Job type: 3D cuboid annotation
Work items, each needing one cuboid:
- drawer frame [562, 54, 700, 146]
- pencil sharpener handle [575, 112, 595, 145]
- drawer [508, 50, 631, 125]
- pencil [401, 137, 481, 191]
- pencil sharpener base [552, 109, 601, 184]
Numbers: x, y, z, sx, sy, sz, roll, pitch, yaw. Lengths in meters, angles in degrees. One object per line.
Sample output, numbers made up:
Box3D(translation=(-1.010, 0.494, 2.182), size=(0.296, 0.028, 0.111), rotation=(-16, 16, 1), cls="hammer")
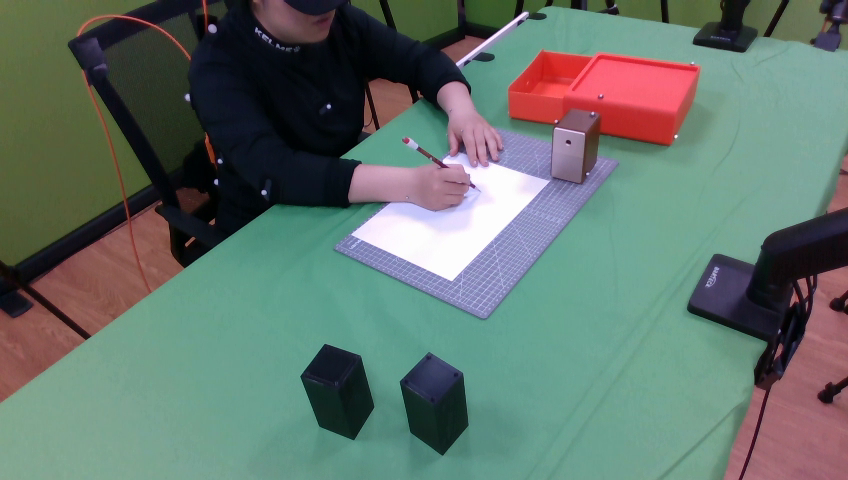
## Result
Box3D(translation=(0.407, -0.282, 1.195), size=(0.212, 0.083, 0.202), rotation=(17, 45, 25), cls="drawer frame")
Box3D(translation=(0.290, -0.203, 1.077), size=(0.036, 0.068, 0.031), rotation=(19, 47, 26), cls="pencil sharpener handle")
Box3D(translation=(0.305, -0.310, 1.246), size=(0.210, 0.073, 0.195), rotation=(16, 45, 25), cls="drawer")
Box3D(translation=(0.033, -0.122, 1.002), size=(0.012, 0.196, 0.012), rotation=(-25, 52, 37), cls="pencil")
Box3D(translation=(0.265, -0.163, 1.053), size=(0.061, 0.107, 0.077), rotation=(17, 46, 27), cls="pencil sharpener base")
